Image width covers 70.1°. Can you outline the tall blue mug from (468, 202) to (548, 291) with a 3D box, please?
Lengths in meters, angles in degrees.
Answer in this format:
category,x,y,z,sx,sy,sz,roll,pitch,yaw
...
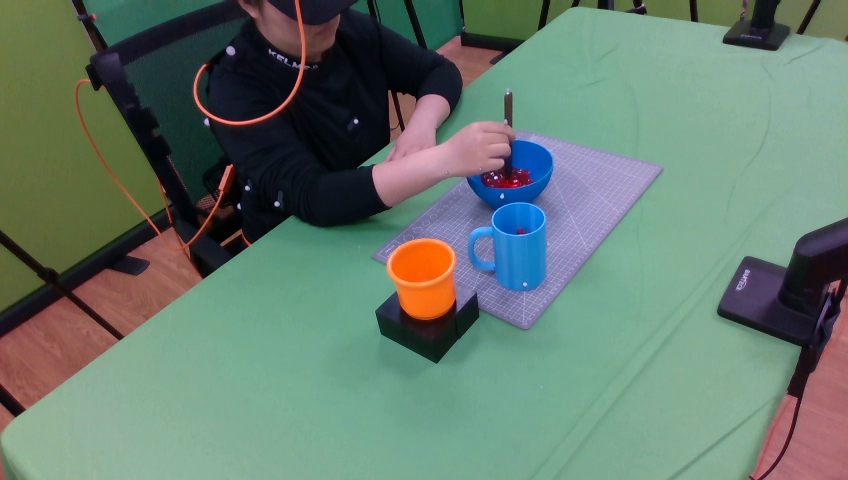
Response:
category,x,y,z,sx,sy,sz,roll,pitch,yaw
tall blue mug,0.125,0.015,0.869,0.107,0.108,0.077,-21,42,-14

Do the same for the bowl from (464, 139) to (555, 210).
category,x,y,z,sx,sy,sz,roll,pitch,yaw
bowl,0.145,-0.100,1.025,0.151,0.077,0.150,-5,40,5

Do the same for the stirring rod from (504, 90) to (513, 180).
category,x,y,z,sx,sy,sz,roll,pitch,yaw
stirring rod,0.135,-0.163,0.966,0.014,0.177,0.005,-32,52,-20
